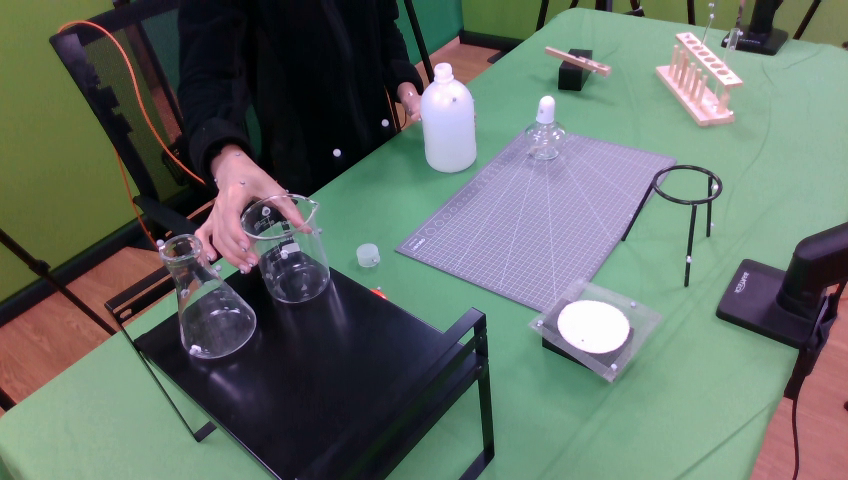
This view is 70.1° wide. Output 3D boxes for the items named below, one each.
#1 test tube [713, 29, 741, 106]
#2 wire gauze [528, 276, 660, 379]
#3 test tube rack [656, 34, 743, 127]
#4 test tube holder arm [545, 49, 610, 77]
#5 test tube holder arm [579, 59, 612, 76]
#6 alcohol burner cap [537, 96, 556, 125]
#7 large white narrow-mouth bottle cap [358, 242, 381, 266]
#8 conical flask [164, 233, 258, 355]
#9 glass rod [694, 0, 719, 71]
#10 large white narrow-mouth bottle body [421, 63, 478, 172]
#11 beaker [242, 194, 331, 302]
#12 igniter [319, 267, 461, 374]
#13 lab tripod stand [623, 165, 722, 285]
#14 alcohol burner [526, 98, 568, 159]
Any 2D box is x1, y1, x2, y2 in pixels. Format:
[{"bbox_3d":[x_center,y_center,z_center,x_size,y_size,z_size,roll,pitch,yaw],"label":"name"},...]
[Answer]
[{"bbox_3d":[0.572,-0.324,1.146,0.017,0.151,0.017,-3,39,3],"label":"test tube"},{"bbox_3d":[0.213,0.103,0.763,0.124,0.011,0.122,30,52,35],"label":"wire gauze"},{"bbox_3d":[0.553,-0.331,1.233,0.067,0.085,0.241,-7,40,2],"label":"test tube rack"},{"bbox_3d":[0.330,-0.387,1.314,0.013,0.015,0.177,-26,43,-30],"label":"test tube holder arm"},{"bbox_3d":[0.363,-0.368,1.289,0.010,0.015,0.087,-26,43,-30],"label":"test tube holder arm"},{"bbox_3d":[0.223,-0.237,1.095,0.034,0.048,0.033,-1,42,1],"label":"alcohol burner cap"},{"bbox_3d":[-0.087,0.023,0.972,0.038,0.024,0.037,-4,41,4],"label":"large white narrow-mouth bottle cap"},{"bbox_3d":[-0.217,0.051,0.601,0.075,0.122,0.075,-4,40,4],"label":"conical flask"},{"bbox_3d":[0.560,-0.401,1.214,0.008,0.200,0.008,-1,48,2],"label":"glass rod"},{"bbox_3d":[0.046,-0.229,1.111,0.102,0.195,0.101,-4,41,4],"label":"large white narrow-mouth bottle body"},{"bbox_3d":[-0.142,0.010,0.655,0.084,0.101,0.073,-24,43,-19],"label":"beaker"},{"bbox_3d":[-0.060,0.108,0.862,0.274,0.025,0.057,28,62,35],"label":"igniter"},{"bbox_3d":[0.365,-0.030,0.874,0.148,0.132,0.147,-6,41,6],"label":"lab tripod stand"},{"bbox_3d":[0.228,-0.210,1.118,0.078,0.119,0.077,-5,43,5],"label":"alcohol burner"}]
